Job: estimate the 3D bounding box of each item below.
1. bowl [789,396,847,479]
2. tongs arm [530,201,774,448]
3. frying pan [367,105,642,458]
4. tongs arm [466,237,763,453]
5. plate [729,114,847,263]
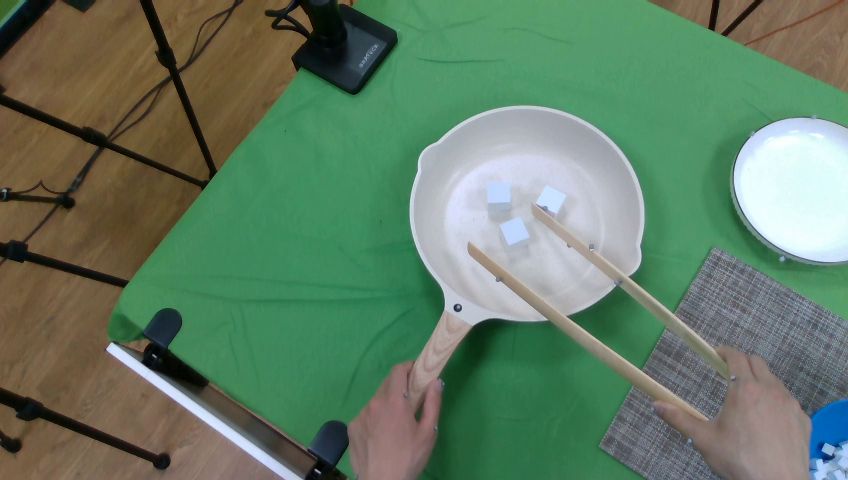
[{"bbox_3d":[0.467,0.249,0.662,0.151,0.077,0.150,-1,71,3],"label":"bowl"},{"bbox_3d":[0.222,0.068,0.671,0.051,0.027,0.380,-27,45,-17],"label":"tongs arm"},{"bbox_3d":[0.071,0.046,0.745,0.305,0.103,0.486,30,67,13],"label":"frying pan"},{"bbox_3d":[0.173,0.095,0.654,0.028,0.028,0.383,-30,46,-24],"label":"tongs arm"},{"bbox_3d":[0.504,-0.066,0.792,0.207,0.039,0.206,-1,71,4],"label":"plate"}]
